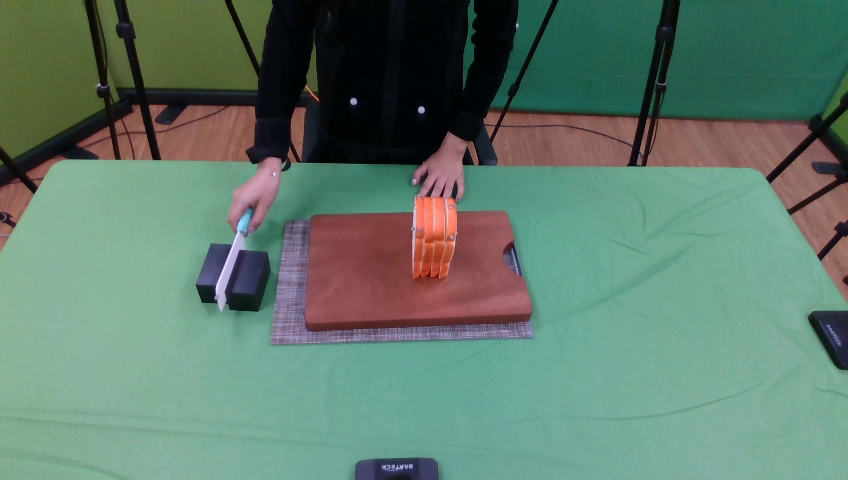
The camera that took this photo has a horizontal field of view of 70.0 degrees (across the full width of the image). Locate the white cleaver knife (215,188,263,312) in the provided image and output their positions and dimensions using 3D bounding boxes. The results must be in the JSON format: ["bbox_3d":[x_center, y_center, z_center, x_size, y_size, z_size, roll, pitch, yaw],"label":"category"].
[{"bbox_3d":[-0.340,0.008,1.109,0.021,0.066,0.284,7,45,-1],"label":"white cleaver knife"}]

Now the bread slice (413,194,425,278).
[{"bbox_3d":[-0.010,-0.015,1.095,0.018,0.135,0.106,0,43,-3],"label":"bread slice"}]

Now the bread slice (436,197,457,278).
[{"bbox_3d":[0.040,-0.010,1.097,0.019,0.132,0.104,4,48,-7],"label":"bread slice"}]
